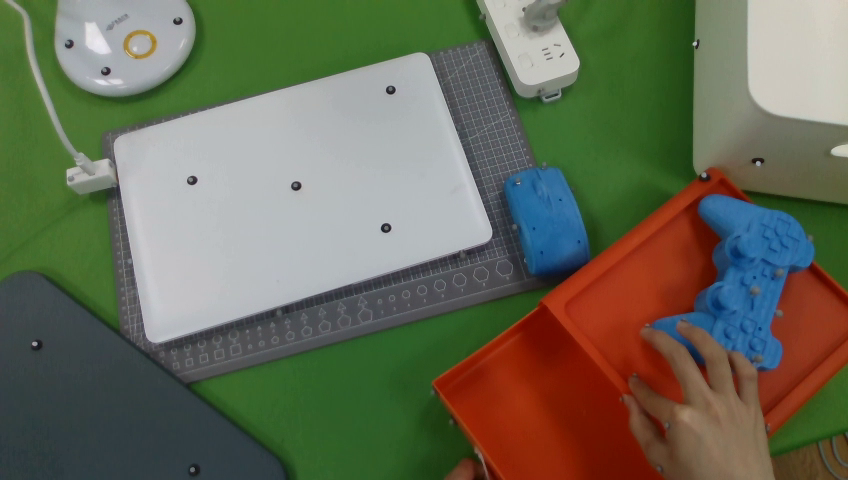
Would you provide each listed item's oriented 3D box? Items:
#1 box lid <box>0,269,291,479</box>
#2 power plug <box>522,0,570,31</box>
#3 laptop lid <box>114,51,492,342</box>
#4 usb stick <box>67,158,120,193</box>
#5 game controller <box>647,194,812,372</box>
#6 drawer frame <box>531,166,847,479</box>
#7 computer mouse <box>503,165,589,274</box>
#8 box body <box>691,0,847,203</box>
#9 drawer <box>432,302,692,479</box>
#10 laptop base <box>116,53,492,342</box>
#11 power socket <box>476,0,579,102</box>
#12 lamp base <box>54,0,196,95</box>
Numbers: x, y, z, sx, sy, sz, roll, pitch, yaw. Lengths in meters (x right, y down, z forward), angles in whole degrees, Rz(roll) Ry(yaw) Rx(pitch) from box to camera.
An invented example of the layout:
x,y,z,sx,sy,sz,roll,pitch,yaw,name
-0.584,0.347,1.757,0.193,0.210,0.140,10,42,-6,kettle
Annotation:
x,y,z,sx,sy,sz,roll,pitch,yaw,name
-0.335,0.215,0.554,0.370,0.015,0.262,33,75,12,box lid
0.144,-0.248,0.663,0.072,0.053,0.035,-7,69,-2,power plug
-0.130,-0.055,0.624,0.357,0.013,0.240,-15,74,-3,laptop lid
-0.338,-0.069,0.635,0.059,0.027,0.021,-12,65,-6,usb stick
0.259,0.036,0.506,0.097,0.052,0.154,26,75,7,game controller
0.241,0.075,0.547,0.213,0.083,0.200,-37,73,-11,drawer frame
0.122,-0.024,0.605,0.063,0.041,0.116,-12,67,-1,computer mouse
0.416,-0.225,0.602,0.254,0.161,0.362,8,71,5,box body
0.145,0.145,0.529,0.212,0.074,0.193,-34,73,-11,drawer
-0.130,-0.053,0.636,0.354,0.023,0.234,-17,75,-4,laptop base
0.107,-0.260,0.693,0.072,0.033,0.225,-17,71,-6,power socket
-0.359,-0.271,0.634,0.178,0.181,0.160,32,74,15,lamp base
